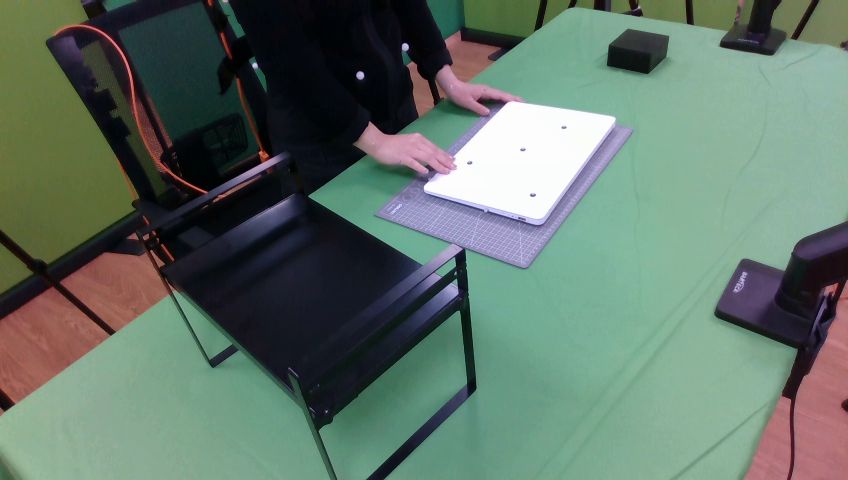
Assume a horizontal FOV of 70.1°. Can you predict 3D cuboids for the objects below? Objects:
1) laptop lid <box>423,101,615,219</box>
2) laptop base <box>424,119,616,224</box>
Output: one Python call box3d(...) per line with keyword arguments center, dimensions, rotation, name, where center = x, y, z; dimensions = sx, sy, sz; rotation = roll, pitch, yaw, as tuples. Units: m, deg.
box3d(center=(0.184, -0.166, 1.124), dimensions=(0.240, 0.013, 0.357), rotation=(18, 47, 30), name="laptop lid")
box3d(center=(0.188, -0.156, 1.131), dimensions=(0.234, 0.023, 0.355), rotation=(16, 46, 30), name="laptop base")
